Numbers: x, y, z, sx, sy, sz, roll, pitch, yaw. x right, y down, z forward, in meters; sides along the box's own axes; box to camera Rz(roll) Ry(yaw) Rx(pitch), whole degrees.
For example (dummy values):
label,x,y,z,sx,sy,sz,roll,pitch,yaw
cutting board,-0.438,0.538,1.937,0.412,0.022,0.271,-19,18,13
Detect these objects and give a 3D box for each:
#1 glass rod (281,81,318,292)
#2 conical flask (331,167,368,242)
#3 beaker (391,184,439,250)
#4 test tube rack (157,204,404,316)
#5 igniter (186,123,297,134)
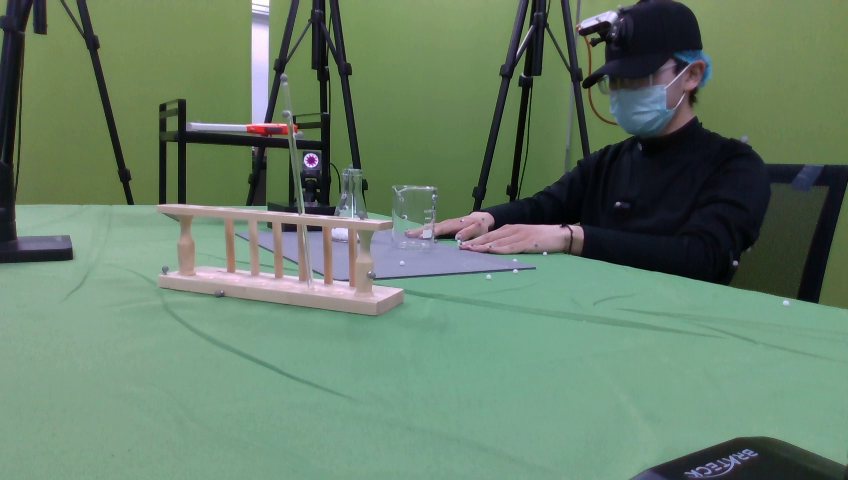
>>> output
label,x,y,z,sx,sy,sz,roll,pitch,yaw
glass rod,-0.116,-0.047,0.563,0.008,0.199,0.008,-7,5,1
conical flask,-0.123,-0.061,1.019,0.075,0.122,0.075,2,7,0
beaker,-0.017,-0.038,0.961,0.073,0.100,0.084,7,9,34
test tube rack,-0.143,0.013,0.599,0.242,0.085,0.067,5,8,19
igniter,-0.392,-0.248,1.341,0.057,0.025,0.278,9,14,38
